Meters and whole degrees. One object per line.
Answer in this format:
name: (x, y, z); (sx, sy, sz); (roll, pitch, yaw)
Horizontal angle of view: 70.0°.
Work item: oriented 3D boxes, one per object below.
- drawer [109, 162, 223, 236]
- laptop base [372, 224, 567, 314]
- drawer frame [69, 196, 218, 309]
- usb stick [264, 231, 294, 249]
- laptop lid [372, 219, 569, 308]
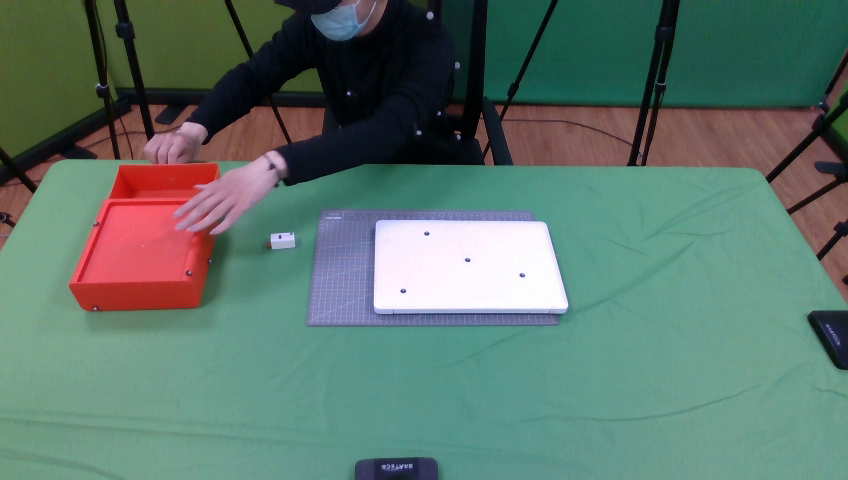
drawer: (-0.507, -0.059, 1.175); (0.195, 0.073, 0.210); (-1, 47, -7)
laptop base: (0.080, 0.049, 1.158); (0.355, 0.023, 0.234); (0, 43, -4)
drawer frame: (-0.497, 0.018, 1.101); (0.202, 0.083, 0.212); (-1, 47, -6)
usb stick: (-0.282, 0.000, 1.174); (0.059, 0.027, 0.021); (-7, 48, -5)
laptop lid: (0.081, 0.039, 1.152); (0.357, 0.013, 0.240); (2, 44, -3)
